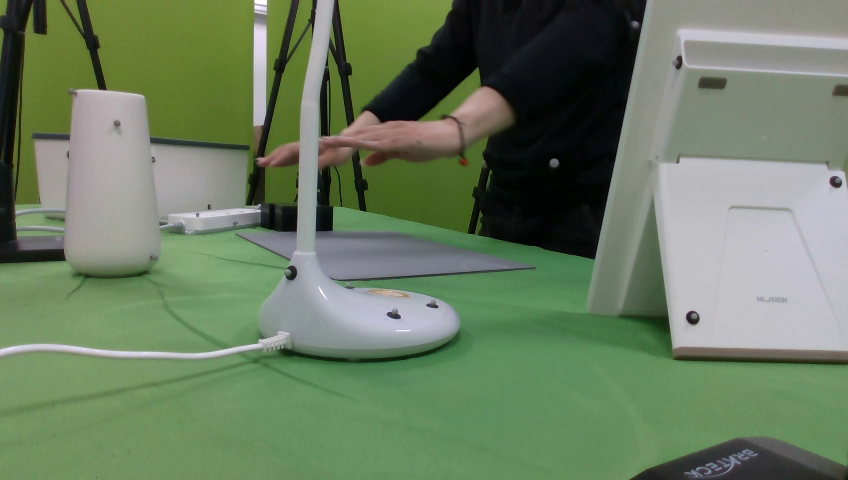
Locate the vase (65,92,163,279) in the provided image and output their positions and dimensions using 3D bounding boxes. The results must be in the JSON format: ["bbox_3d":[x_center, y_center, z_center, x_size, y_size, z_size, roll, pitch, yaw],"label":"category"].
[{"bbox_3d":[-0.347,-0.060,0.673,0.098,0.200,0.098,1,7,0],"label":"vase"}]

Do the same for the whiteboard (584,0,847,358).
[{"bbox_3d":[0.269,-0.034,0.466,0.217,0.305,0.143,2,27,-1],"label":"whiteboard"}]

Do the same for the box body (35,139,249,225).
[{"bbox_3d":[-0.561,-0.127,1.258,0.254,0.160,0.365,4,8,13],"label":"box body"}]

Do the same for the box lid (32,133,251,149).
[{"bbox_3d":[-0.558,-0.200,1.250,0.263,0.015,0.372,5,8,13],"label":"box lid"}]

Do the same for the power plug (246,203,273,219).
[{"bbox_3d":[-0.360,-0.048,1.289,0.052,0.035,0.072,19,58,25],"label":"power plug"}]

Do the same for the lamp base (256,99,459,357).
[{"bbox_3d":[-0.055,-0.013,0.463,0.160,0.180,0.180,6,11,27],"label":"lamp base"}]

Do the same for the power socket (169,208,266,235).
[{"bbox_3d":[-0.379,-0.038,1.130,0.072,0.032,0.227,4,8,19],"label":"power socket"}]
